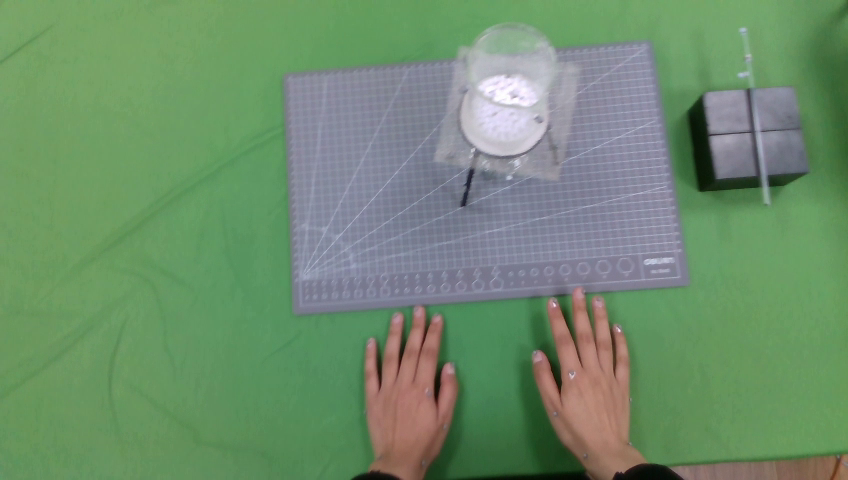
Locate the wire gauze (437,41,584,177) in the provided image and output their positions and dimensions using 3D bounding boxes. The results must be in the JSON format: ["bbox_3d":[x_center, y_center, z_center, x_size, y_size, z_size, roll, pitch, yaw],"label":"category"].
[{"bbox_3d":[0.084,-0.127,0.584,0.121,0.011,0.124,13,79,4],"label":"wire gauze"}]

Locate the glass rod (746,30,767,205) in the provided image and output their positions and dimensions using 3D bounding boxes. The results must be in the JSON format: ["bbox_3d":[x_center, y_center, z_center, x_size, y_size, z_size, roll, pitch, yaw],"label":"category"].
[{"bbox_3d":[0.361,-0.135,0.658,0.008,0.008,0.199,0,81,3],"label":"glass rod"}]

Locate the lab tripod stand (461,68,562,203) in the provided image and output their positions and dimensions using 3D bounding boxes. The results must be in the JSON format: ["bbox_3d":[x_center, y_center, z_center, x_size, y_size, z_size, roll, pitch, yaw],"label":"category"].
[{"bbox_3d":[0.082,-0.116,0.650,0.148,0.132,0.148,-1,79,5],"label":"lab tripod stand"}]

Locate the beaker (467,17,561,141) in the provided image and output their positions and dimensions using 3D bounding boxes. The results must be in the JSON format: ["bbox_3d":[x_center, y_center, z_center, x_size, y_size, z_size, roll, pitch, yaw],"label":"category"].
[{"bbox_3d":[0.079,-0.134,0.537,0.074,0.100,0.083,-31,79,-2],"label":"beaker"}]

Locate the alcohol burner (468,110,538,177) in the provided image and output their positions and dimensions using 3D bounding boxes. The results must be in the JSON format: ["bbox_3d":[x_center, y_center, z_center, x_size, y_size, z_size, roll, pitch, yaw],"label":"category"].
[{"bbox_3d":[0.087,-0.111,0.658,0.078,0.119,0.077,-1,81,5],"label":"alcohol burner"}]
